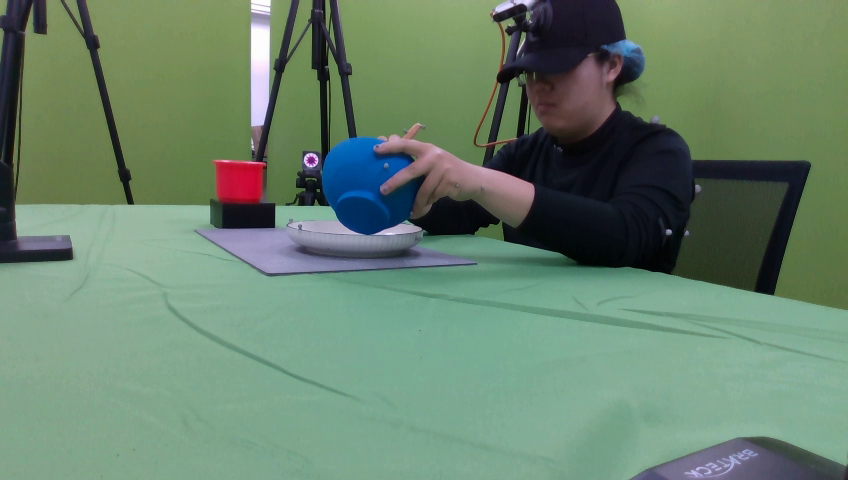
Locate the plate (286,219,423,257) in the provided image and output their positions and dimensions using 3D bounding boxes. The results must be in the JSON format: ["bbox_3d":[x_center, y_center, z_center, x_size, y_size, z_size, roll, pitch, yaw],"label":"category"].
[{"bbox_3d":[-0.105,-0.003,0.922,0.208,0.039,0.207,3,7,0],"label":"plate"}]

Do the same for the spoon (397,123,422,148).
[{"bbox_3d":[-0.055,-0.124,0.896,0.041,0.022,0.194,9,39,32],"label":"spoon"}]

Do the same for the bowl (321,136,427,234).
[{"bbox_3d":[-0.077,-0.059,0.834,0.151,0.151,0.077,3,48,10],"label":"bowl"}]
